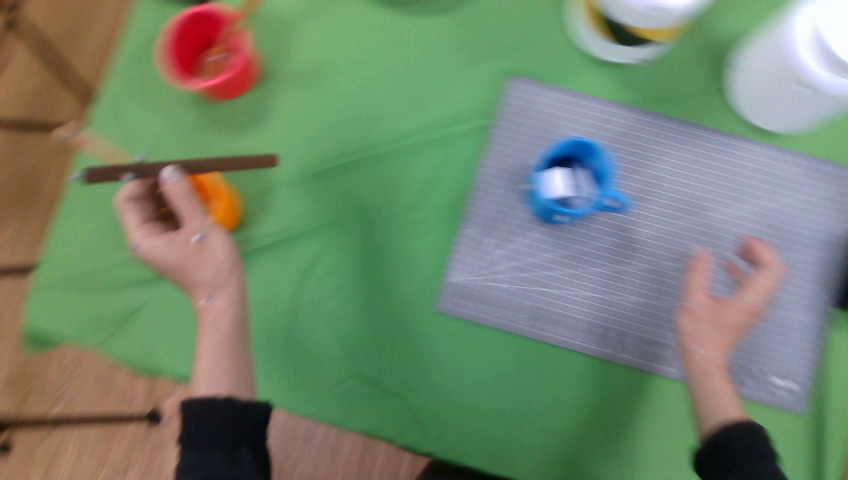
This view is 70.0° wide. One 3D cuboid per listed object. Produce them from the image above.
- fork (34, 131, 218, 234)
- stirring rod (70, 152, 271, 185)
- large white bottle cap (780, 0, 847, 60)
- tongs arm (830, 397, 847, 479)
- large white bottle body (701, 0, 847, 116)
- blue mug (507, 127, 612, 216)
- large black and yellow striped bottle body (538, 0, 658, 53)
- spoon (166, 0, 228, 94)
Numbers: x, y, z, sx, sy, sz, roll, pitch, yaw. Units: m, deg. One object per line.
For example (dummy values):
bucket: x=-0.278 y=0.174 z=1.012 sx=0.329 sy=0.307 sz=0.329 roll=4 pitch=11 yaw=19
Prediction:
fork: x=-0.325 y=-0.061 z=0.676 sx=0.209 sy=0.018 sz=0.028 roll=34 pitch=89 yaw=-40
stirring rod: x=-0.206 y=-0.063 z=0.518 sx=0.005 sy=0.177 sz=0.014 roll=23 pitch=115 yaw=37
large white bottle cap: x=0.389 y=-0.224 z=0.556 sx=0.115 sy=0.018 sz=0.114 roll=0 pitch=87 yaw=1
tongs arm: x=0.496 y=0.140 z=0.658 sx=0.051 sy=0.026 sz=0.385 roll=10 pitch=99 yaw=0
large white bottle body: x=0.392 y=-0.218 z=0.640 sx=0.130 sy=0.185 sz=0.130 roll=0 pitch=87 yaw=2
blue mug: x=0.154 y=-0.067 z=0.679 sx=0.116 sy=0.106 sz=0.082 roll=22 pitch=88 yaw=3
large black and yellow striped bottle body: x=0.200 y=-0.296 z=0.652 sx=0.131 sy=0.184 sz=0.130 roll=0 pitch=86 yaw=2
spoon: x=-0.251 y=-0.231 z=0.685 sx=0.194 sy=0.022 sz=0.041 roll=-36 pitch=80 yaw=43
